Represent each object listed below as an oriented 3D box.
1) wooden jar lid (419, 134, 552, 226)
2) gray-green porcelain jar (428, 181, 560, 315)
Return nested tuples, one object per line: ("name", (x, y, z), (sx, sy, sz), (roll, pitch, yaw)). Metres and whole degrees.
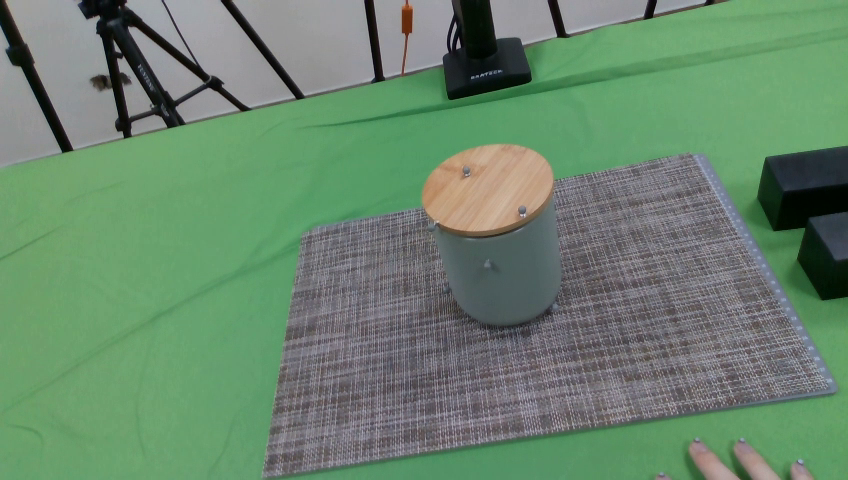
("wooden jar lid", (0.050, -0.047, 0.495), (0.108, 0.021, 0.107), (-9, 46, 10))
("gray-green porcelain jar", (0.066, -0.003, 0.540), (0.106, 0.128, 0.105), (-9, 45, 9))
